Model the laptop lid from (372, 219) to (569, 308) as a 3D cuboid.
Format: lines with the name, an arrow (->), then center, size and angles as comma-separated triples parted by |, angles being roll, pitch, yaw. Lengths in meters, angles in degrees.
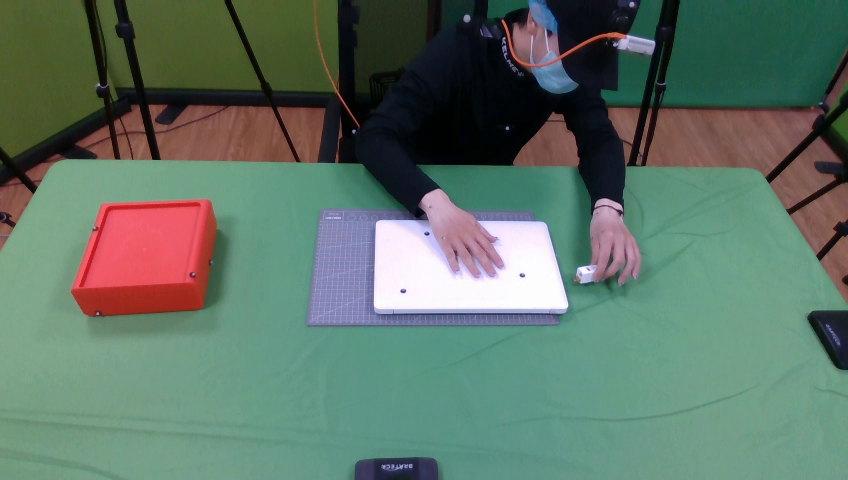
laptop lid -> 0.081, 0.039, 1.152 | 0.357, 0.013, 0.240 | 2, 44, -3

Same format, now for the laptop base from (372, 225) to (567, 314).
laptop base -> 0.080, 0.049, 1.158 | 0.355, 0.023, 0.234 | 0, 43, -4

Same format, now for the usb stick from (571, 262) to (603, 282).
usb stick -> 0.305, 0.062, 1.141 | 0.059, 0.027, 0.021 | -14, 39, -11

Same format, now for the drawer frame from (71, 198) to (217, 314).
drawer frame -> -0.493, 0.023, 1.096 | 0.202, 0.083, 0.212 | -3, 47, -8

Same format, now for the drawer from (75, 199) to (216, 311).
drawer -> -0.494, 0.022, 1.097 | 0.195, 0.073, 0.210 | -2, 47, -8
